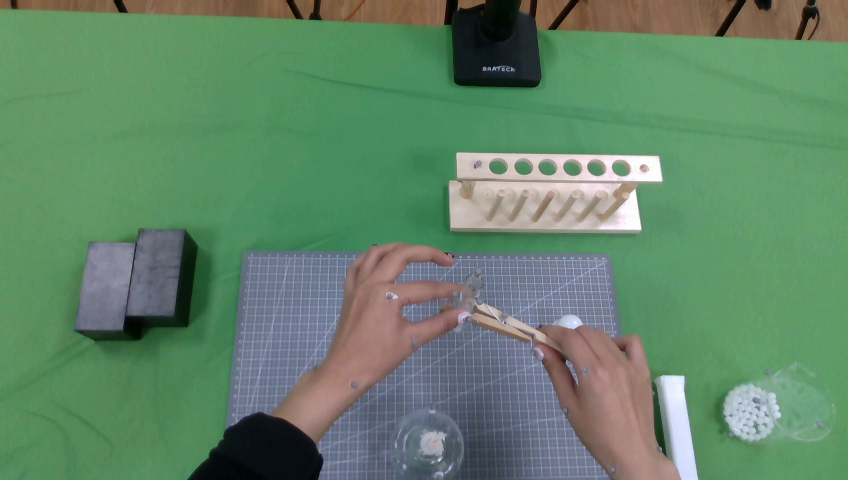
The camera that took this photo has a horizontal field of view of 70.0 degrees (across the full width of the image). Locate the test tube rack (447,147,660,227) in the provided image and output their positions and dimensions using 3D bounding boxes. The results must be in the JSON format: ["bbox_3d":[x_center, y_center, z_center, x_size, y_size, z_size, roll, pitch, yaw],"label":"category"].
[{"bbox_3d":[0.153,-0.062,0.738,0.243,0.085,0.066,0,70,-5],"label":"test tube rack"}]

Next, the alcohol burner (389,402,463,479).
[{"bbox_3d":[0.003,0.201,0.611,0.078,0.120,0.077,2,67,-3],"label":"alcohol burner"}]

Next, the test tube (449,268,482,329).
[{"bbox_3d":[0.036,0.058,0.556,0.017,0.151,0.017,1,68,-2],"label":"test tube"}]

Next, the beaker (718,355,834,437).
[{"bbox_3d":[0.380,0.175,0.665,0.074,0.101,0.083,13,69,0],"label":"beaker"}]

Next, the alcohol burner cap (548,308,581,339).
[{"bbox_3d":[0.166,0.096,0.702,0.034,0.048,0.033,2,70,-4],"label":"alcohol burner cap"}]

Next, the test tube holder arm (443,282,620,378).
[{"bbox_3d":[0.100,0.083,0.559,0.178,0.015,0.013,26,73,0],"label":"test tube holder arm"}]

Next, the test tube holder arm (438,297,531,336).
[{"bbox_3d":[0.056,0.071,0.556,0.088,0.015,0.010,17,72,-3],"label":"test tube holder arm"}]

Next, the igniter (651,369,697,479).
[{"bbox_3d":[0.282,0.279,0.656,0.057,0.025,0.274,4,69,-14],"label":"igniter"}]

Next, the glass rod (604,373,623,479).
[{"bbox_3d":[0.214,0.247,0.669,0.008,0.008,0.198,0,70,-5],"label":"glass rod"}]
